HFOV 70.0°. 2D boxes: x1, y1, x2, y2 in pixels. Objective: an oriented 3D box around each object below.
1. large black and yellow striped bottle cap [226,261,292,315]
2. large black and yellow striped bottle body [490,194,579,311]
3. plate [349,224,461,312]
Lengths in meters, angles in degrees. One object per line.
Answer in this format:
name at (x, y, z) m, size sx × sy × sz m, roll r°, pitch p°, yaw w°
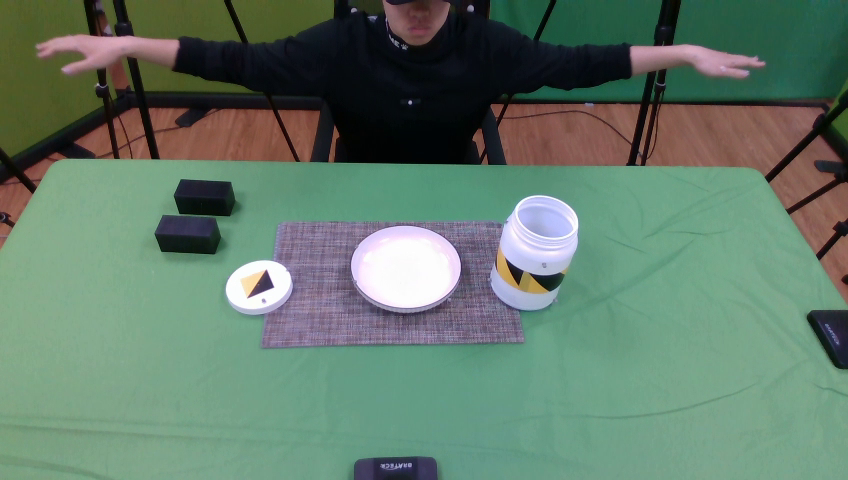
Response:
large black and yellow striped bottle cap at (-0.298, 0.085, 1.092) m, size 0.115 × 0.019 × 0.114 m, roll 0°, pitch 45°, yaw 1°
large black and yellow striped bottle body at (0.196, 0.022, 1.073) m, size 0.131 × 0.185 × 0.130 m, roll 4°, pitch 46°, yaw -4°
plate at (-0.035, 0.054, 1.126) m, size 0.208 × 0.039 × 0.206 m, roll 2°, pitch 46°, yaw -2°
